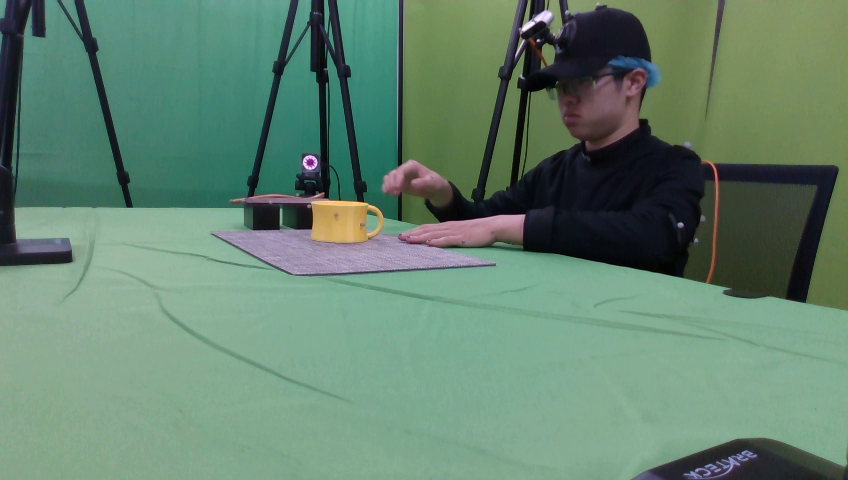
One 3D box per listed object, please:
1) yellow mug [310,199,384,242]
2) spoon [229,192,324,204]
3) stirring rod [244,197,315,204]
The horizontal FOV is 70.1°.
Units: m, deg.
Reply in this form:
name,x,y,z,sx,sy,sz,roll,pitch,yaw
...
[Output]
name,x,y,z,sx,sy,sz,roll,pitch,yaw
yellow mug,-0.132,-0.035,1.054,0.131,0.064,0.099,0,8,-23
spoon,-0.297,-0.086,1.231,0.195,0.021,0.041,-3,7,-27
stirring rod,-0.269,-0.077,1.200,0.177,0.006,0.014,-1,41,-35
